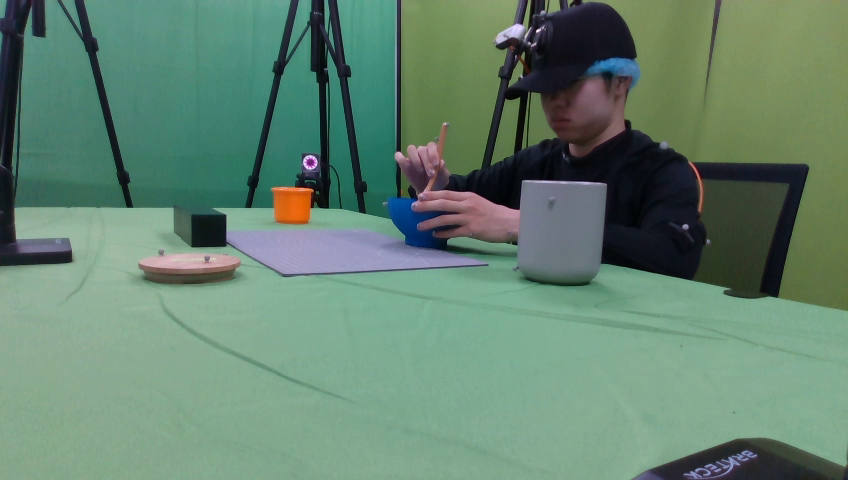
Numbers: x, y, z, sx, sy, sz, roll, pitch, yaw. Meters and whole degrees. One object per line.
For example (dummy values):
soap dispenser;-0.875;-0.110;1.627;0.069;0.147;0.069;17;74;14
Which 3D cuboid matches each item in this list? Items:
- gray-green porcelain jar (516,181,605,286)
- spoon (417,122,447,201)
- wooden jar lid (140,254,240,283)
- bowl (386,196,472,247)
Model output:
gray-green porcelain jar;0.172;-0.010;0.768;0.106;0.126;0.106;2;7;0
spoon;0.011;-0.110;1.044;0.022;0.193;0.041;19;-3;-21
wooden jar lid;-0.269;0.032;0.698;0.108;0.020;0.108;2;5;0
bowl;0.005;-0.031;1.045;0.151;0.077;0.151;5;5;0
